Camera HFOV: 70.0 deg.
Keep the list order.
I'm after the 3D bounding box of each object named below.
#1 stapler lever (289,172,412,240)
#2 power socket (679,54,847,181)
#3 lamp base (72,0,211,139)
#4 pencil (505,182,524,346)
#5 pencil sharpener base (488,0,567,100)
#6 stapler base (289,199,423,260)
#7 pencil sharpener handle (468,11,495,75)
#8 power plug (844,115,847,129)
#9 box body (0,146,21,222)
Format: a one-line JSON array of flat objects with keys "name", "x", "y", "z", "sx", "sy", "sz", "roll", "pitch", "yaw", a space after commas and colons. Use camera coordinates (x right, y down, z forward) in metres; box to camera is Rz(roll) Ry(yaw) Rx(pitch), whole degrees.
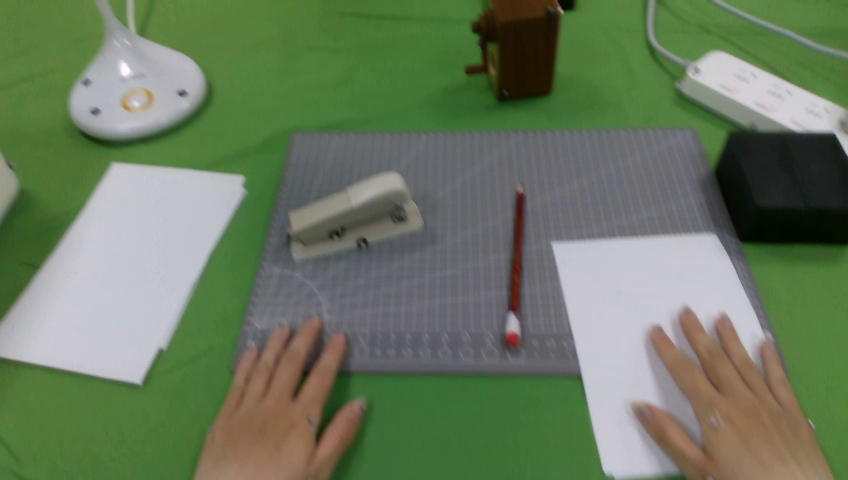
[{"name": "stapler lever", "x": -0.069, "y": -0.032, "z": 0.563, "sx": 0.118, "sy": 0.040, "sz": 0.026, "roll": -15, "pitch": 50, "yaw": -8}, {"name": "power socket", "x": 0.390, "y": -0.137, "z": 0.656, "sx": 0.072, "sy": 0.033, "sz": 0.224, "roll": -33, "pitch": 55, "yaw": -23}, {"name": "lamp base", "x": -0.349, "y": -0.235, "z": 0.679, "sx": 0.161, "sy": 0.182, "sz": 0.177, "roll": -25, "pitch": 51, "yaw": -17}, {"name": "pencil", "x": 0.086, "y": 0.013, "z": 0.559, "sx": 0.012, "sy": 0.012, "sz": 0.192, "roll": 5, "pitch": 49, "yaw": 7}, {"name": "pencil sharpener base", "x": 0.113, "y": -0.222, "z": 0.692, "sx": 0.077, "sy": 0.108, "sz": 0.060, "roll": -9, "pitch": 51, "yaw": -3}, {"name": "stapler base", "x": -0.066, "y": -0.018, "z": 0.583, "sx": 0.131, "sy": 0.025, "sz": 0.041, "roll": -15, "pitch": 50, "yaw": -8}, {"name": "pencil sharpener handle", "x": 0.062, "y": -0.218, "z": 0.675, "sx": 0.031, "sy": 0.068, "sz": 0.035, "roll": -9, "pitch": 29, "yaw": -3}, {"name": "power plug", "x": 0.458, "y": -0.126, "z": 0.612, "sx": 0.072, "sy": 0.053, "sz": 0.035, "roll": -26, "pitch": 53, "yaw": -16}, {"name": "box body", "x": -0.552, "y": 0.015, "z": 0.493, "sx": 0.254, "sy": 0.162, "sz": 0.360, "roll": 1, "pitch": 50, "yaw": 3}]
